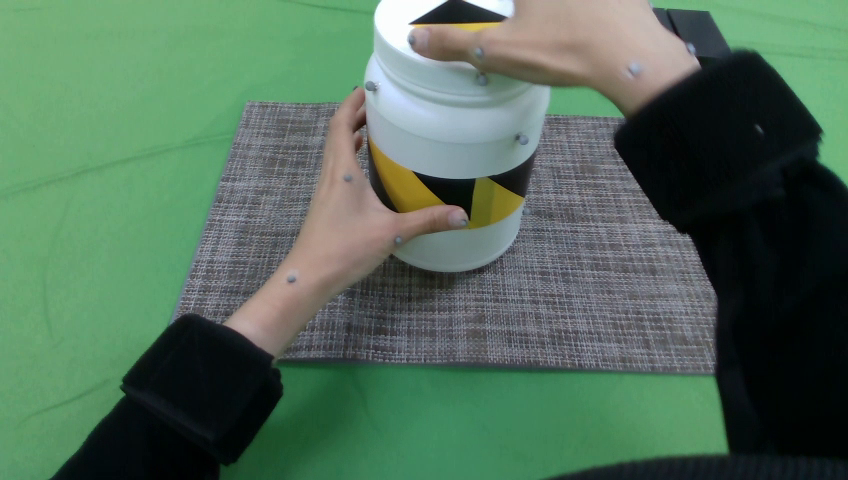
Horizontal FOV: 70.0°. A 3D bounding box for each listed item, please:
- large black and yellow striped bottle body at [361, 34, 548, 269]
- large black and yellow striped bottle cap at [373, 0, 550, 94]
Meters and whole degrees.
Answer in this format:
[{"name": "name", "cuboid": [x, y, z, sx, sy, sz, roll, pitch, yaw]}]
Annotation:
[{"name": "large black and yellow striped bottle body", "cuboid": [0.019, -0.081, 0.457, 0.131, 0.185, 0.129, 2, 49, -2]}, {"name": "large black and yellow striped bottle cap", "cuboid": [0.024, -0.137, 0.393, 0.115, 0.019, 0.114, 2, 50, -2]}]
